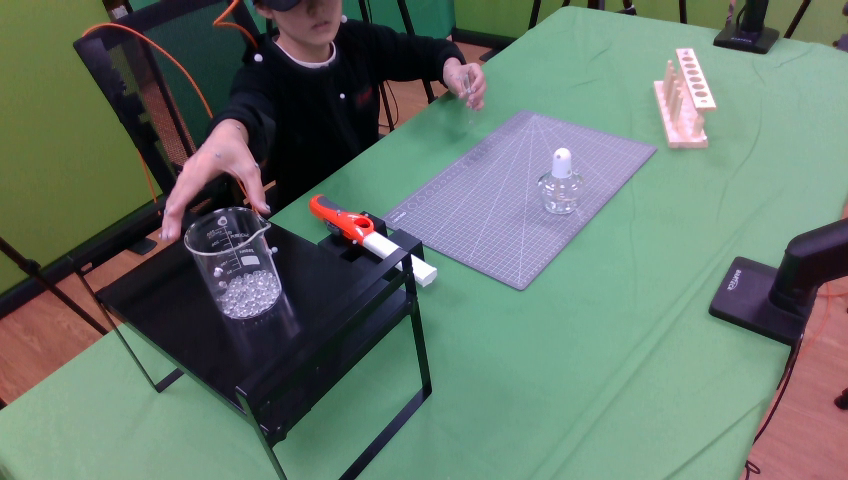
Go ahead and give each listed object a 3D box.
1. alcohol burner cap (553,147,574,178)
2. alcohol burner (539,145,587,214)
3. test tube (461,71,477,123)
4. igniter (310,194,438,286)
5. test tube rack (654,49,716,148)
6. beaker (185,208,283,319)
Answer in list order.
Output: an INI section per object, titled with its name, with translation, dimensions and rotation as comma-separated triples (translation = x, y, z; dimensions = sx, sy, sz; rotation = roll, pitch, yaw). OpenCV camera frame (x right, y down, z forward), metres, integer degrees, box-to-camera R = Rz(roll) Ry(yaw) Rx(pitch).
[alcohol burner cap]
translation = 0.224, -0.125, 0.965
dimensions = 0.034, 0.048, 0.033
rotation = -5, 44, 5
[alcohol burner]
translation = 0.226, -0.102, 0.986
dimensions = 0.078, 0.119, 0.077
rotation = -6, 41, 6
[test tube]
translation = 0.087, -0.270, 1.155
dimensions = 0.017, 0.151, 0.017
rotation = -4, 66, 10
[igniter]
translation = -0.087, -0.007, 0.921
dimensions = 0.274, 0.025, 0.057
rotation = 31, 51, 34
[test tube rack]
translation = 0.502, -0.281, 1.176
dimensions = 0.066, 0.085, 0.241
rotation = 2, 41, 11
[beaker]
translation = -0.192, 0.026, 0.637
dimensions = 0.084, 0.101, 0.073
rotation = -13, 41, -7
